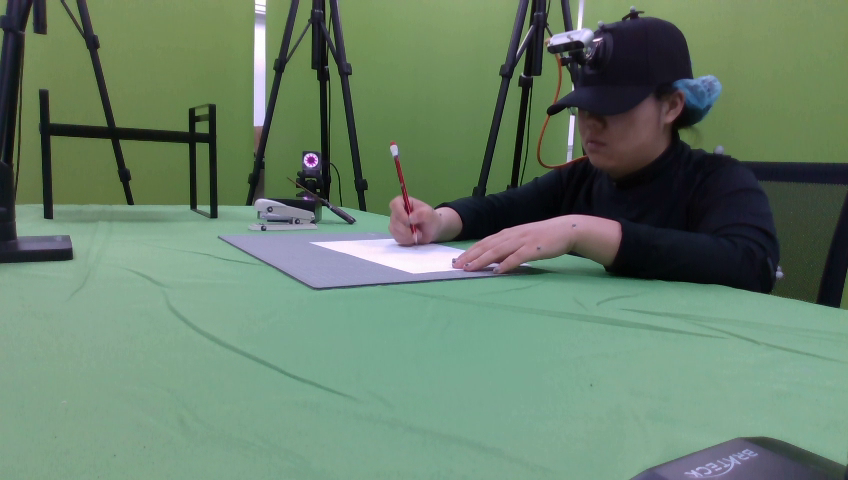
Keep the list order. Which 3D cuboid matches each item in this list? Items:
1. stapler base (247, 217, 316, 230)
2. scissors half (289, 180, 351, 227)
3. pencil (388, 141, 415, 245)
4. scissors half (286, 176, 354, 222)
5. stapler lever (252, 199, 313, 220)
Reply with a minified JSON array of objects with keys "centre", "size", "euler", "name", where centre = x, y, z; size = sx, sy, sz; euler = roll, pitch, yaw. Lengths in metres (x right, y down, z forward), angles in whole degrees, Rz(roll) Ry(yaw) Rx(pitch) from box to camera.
[{"centre":[-0.276,-0.033,1.172],"size":[0.131,0.024,0.041],"euler":[0,10,-37],"name":"stapler base"},{"centre":[-0.232,-0.085,1.317],"size":[0.175,0.013,0.040],"euler":[38,21,4],"name":"scissors half"},{"centre":[-0.035,-0.079,0.980],"size":[0.012,0.193,0.012],"euler":[-12,-24,-5],"name":"pencil"},{"centre":[-0.229,-0.091,1.337],"size":[0.175,0.013,0.040],"euler":[33,16,-13],"name":"scissors half"},{"centre":[-0.273,-0.058,1.170],"size":[0.119,0.040,0.026],"euler":[0,10,-37],"name":"stapler lever"}]
